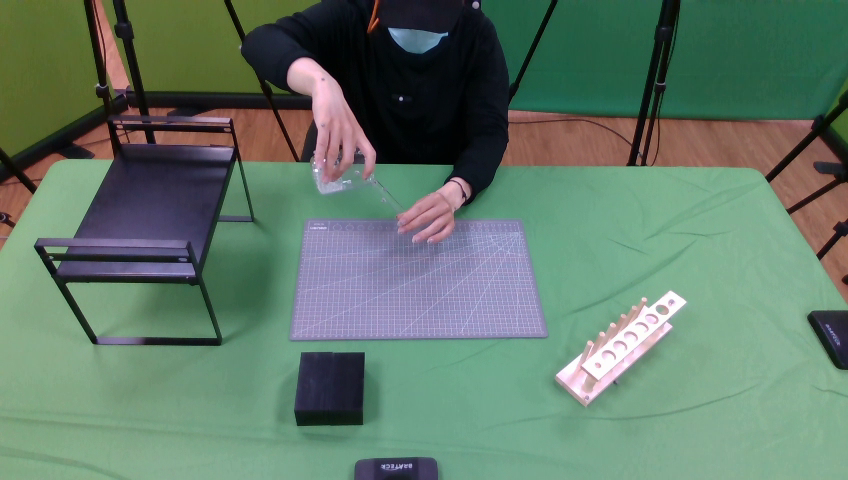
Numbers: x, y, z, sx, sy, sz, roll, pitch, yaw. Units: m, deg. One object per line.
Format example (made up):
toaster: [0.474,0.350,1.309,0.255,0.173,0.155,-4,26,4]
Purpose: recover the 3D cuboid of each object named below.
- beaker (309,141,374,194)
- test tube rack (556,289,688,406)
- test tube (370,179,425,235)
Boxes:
beaker: [-0.141,-0.121,1.046,0.100,0.084,0.073,-12,43,1]
test tube rack: [0.333,0.166,1.014,0.242,0.085,0.066,-30,55,-28]
test tube: [-0.046,-0.058,1.110,0.017,0.151,0.017,-29,35,23]
